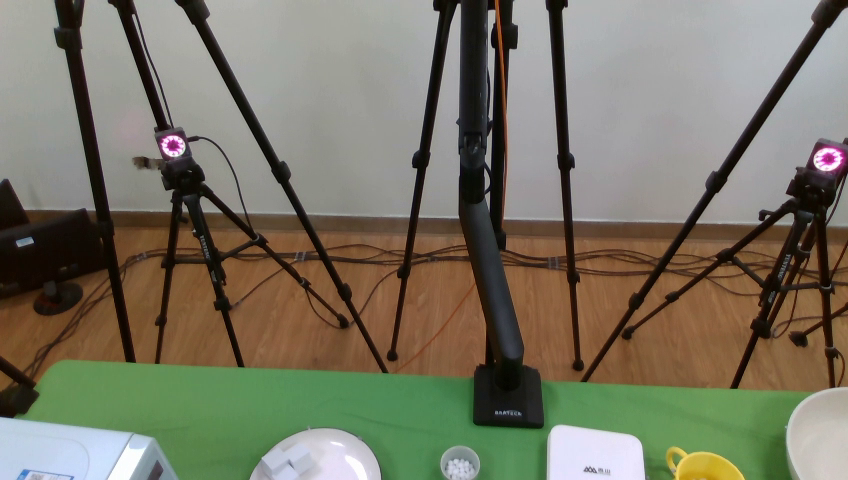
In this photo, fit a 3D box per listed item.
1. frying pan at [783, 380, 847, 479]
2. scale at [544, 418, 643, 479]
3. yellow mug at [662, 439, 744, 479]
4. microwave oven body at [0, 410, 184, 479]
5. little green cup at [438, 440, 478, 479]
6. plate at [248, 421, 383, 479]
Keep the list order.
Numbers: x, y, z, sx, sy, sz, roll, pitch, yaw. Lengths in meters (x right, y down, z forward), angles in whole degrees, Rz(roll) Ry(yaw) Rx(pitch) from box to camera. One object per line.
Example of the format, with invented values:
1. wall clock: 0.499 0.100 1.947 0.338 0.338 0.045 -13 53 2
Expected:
1. frying pan: 0.722 0.395 0.819 0.307 0.103 0.482 -16 34 -14
2. scale: 0.259 0.371 0.926 0.148 0.032 0.199 5 41 9
3. yellow mug: 0.407 0.355 0.910 0.100 0.064 0.129 -20 43 -19
4. microwave oven body: -0.517 0.450 0.684 0.325 0.262 0.438 4 42 7
5. little green cup: 0.054 0.351 0.953 0.061 0.039 0.061 -1 40 2
6. plate: -0.165 0.378 0.932 0.208 0.039 0.205 -1 40 1
